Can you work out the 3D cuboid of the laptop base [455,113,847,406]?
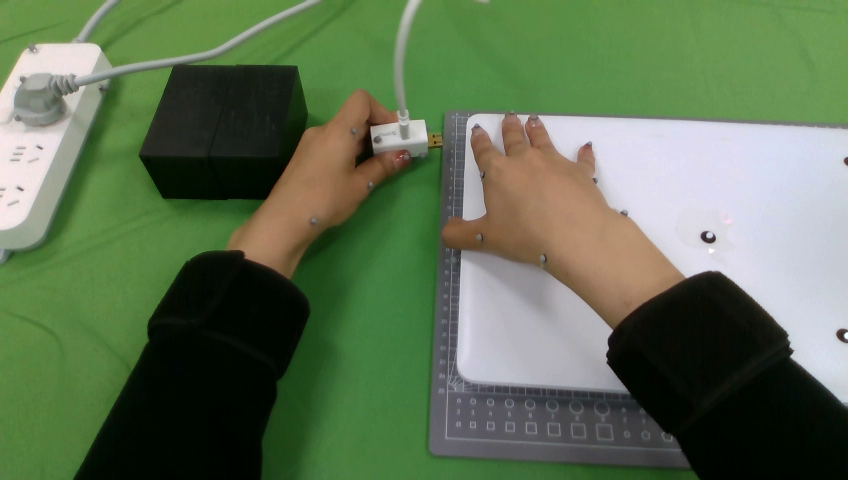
[{"bbox_3d":[0.203,0.005,0.445,0.354,0.023,0.233,3,59,2],"label":"laptop base"}]

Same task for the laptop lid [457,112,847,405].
[{"bbox_3d":[0.203,0.000,0.434,0.356,0.013,0.239,4,58,3],"label":"laptop lid"}]

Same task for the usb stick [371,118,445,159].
[{"bbox_3d":[-0.012,-0.082,0.487,0.059,0.027,0.021,-6,66,-8],"label":"usb stick"}]

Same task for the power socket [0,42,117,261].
[{"bbox_3d":[-0.317,-0.085,0.495,0.072,0.033,0.224,1,55,-1],"label":"power socket"}]

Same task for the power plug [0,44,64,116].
[{"bbox_3d":[-0.305,-0.129,0.464,0.053,0.073,0.035,11,37,-22],"label":"power plug"}]
